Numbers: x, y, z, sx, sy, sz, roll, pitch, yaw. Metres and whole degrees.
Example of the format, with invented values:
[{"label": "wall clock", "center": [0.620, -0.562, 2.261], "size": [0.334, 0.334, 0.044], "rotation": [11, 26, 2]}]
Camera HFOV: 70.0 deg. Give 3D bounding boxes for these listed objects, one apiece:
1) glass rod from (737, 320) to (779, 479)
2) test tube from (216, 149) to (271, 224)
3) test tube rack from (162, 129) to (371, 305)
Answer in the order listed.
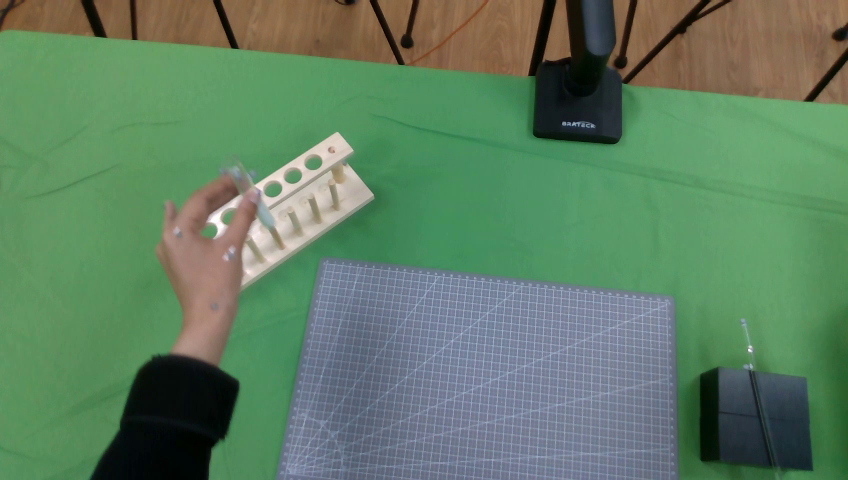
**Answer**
[{"label": "glass rod", "center": [0.368, 0.185, 0.665], "size": [0.008, 0.008, 0.198], "rotation": [-2, 70, -1]}, {"label": "test tube", "center": [-0.170, -0.047, 0.581], "size": [0.017, 0.151, 0.017], "rotation": [1, 71, -1]}, {"label": "test tube rack", "center": [-0.185, -0.028, 0.748], "size": [0.242, 0.086, 0.066], "rotation": [-36, 73, -13]}]
